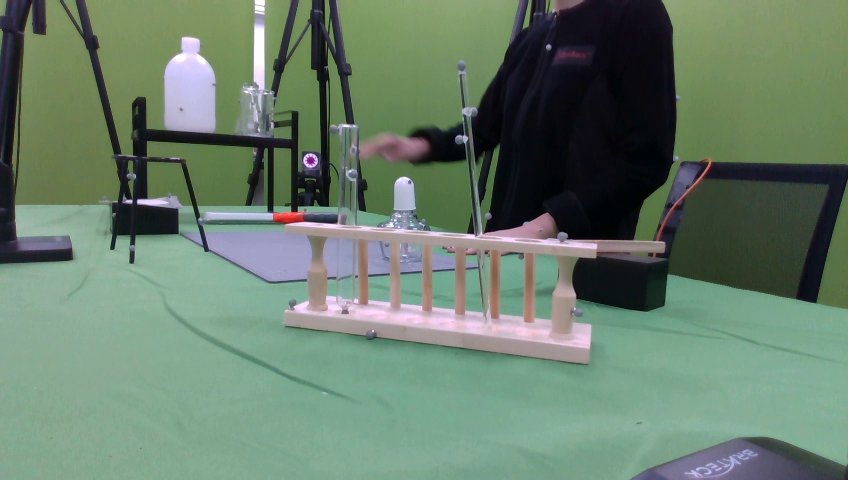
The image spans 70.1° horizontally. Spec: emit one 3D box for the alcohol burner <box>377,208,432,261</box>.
[{"bbox_3d":[-0.027,-0.031,0.838,0.078,0.119,0.078,0,6,0],"label":"alcohol burner"}]

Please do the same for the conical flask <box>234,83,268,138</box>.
[{"bbox_3d":[-0.400,-0.298,1.395,0.075,0.122,0.075,2,8,0],"label":"conical flask"}]

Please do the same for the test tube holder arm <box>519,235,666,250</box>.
[{"bbox_3d":[0.186,0.003,0.656,0.179,0.015,0.013,-1,16,-19],"label":"test tube holder arm"}]

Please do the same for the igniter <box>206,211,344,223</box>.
[{"bbox_3d":[-0.302,-0.048,1.249,0.278,0.025,0.057,-2,-2,-27],"label":"igniter"}]

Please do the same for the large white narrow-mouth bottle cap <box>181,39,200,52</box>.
[{"bbox_3d":[-0.488,-0.406,1.266,0.038,0.024,0.037,2,7,0],"label":"large white narrow-mouth bottle cap"}]

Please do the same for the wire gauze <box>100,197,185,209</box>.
[{"bbox_3d":[-0.469,-0.062,1.008,0.126,0.011,0.121,-2,8,-25],"label":"wire gauze"}]

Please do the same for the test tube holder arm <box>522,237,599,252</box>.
[{"bbox_3d":[0.144,0.005,0.636,0.088,0.015,0.010,-1,16,-19],"label":"test tube holder arm"}]

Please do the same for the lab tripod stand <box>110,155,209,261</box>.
[{"bbox_3d":[-0.361,-0.046,0.806,0.148,0.131,0.148,2,5,0],"label":"lab tripod stand"}]

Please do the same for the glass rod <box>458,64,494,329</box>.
[{"bbox_3d":[0.039,-0.029,0.449,0.008,0.199,0.008,-7,9,1],"label":"glass rod"}]

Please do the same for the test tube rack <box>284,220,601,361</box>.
[{"bbox_3d":[0.013,0.032,0.482,0.242,0.085,0.067,4,7,16],"label":"test tube rack"}]

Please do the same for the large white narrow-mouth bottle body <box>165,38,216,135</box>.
[{"bbox_3d":[-0.491,-0.322,1.275,0.102,0.194,0.102,2,7,0],"label":"large white narrow-mouth bottle body"}]

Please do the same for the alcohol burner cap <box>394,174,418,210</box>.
[{"bbox_3d":[-0.026,-0.067,0.834,0.034,0.048,0.034,-1,12,1],"label":"alcohol burner cap"}]

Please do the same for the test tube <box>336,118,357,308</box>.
[{"bbox_3d":[-0.061,-0.019,0.476,0.017,0.150,0.017,2,11,0],"label":"test tube"}]

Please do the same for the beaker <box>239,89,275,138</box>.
[{"bbox_3d":[-0.361,-0.273,1.308,0.074,0.100,0.084,0,8,-11],"label":"beaker"}]
